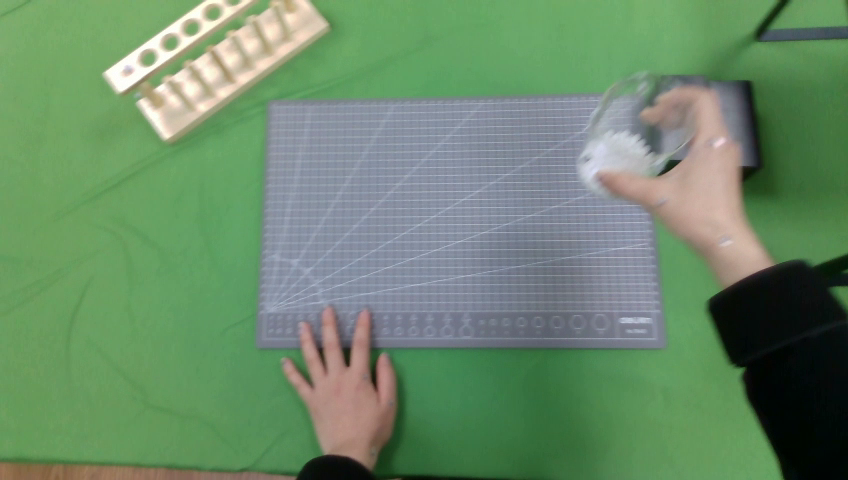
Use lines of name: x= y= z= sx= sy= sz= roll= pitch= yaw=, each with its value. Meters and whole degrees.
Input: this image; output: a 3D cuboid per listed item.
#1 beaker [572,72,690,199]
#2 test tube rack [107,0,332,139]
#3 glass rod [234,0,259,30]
beaker: x=0.168 y=-0.083 z=0.517 sx=0.084 sy=0.101 sz=0.073 roll=-9 pitch=73 yaw=-1
test tube rack: x=-0.231 y=-0.229 z=0.709 sx=0.242 sy=0.085 sz=0.066 roll=-37 pitch=78 yaw=-6
glass rod: x=-0.215 y=-0.275 z=0.651 sx=0.008 sy=0.200 sz=0.008 roll=-1 pitch=83 yaw=6
